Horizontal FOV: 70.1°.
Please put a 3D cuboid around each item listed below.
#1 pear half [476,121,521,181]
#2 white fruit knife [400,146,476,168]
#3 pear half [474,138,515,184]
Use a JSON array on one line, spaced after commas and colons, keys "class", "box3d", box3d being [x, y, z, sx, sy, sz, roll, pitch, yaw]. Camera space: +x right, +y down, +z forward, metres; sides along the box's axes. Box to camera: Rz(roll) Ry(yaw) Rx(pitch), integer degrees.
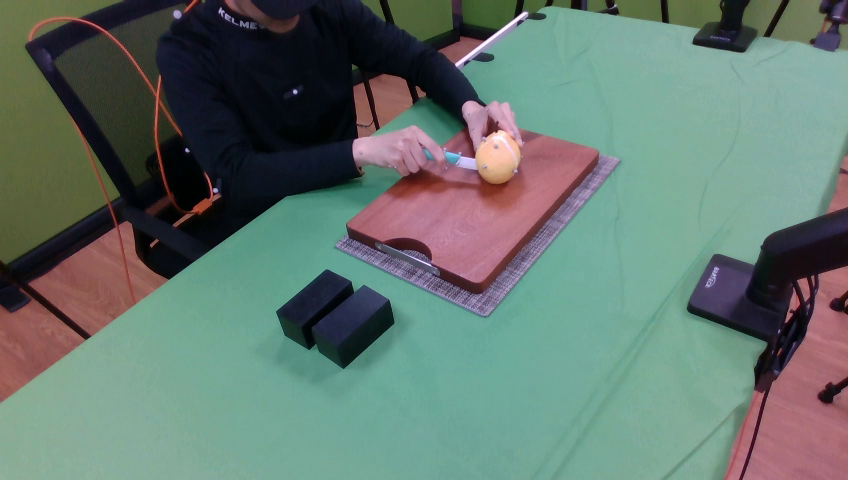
[{"class": "pear half", "box3d": [0.128, -0.158, 1.024, 0.076, 0.110, 0.056, 9, 43, 12]}, {"class": "white fruit knife", "box3d": [0.055, -0.140, 1.044, 0.206, 0.027, 0.016, 11, 42, 16]}, {"class": "pear half", "box3d": [0.115, -0.125, 1.003, 0.070, 0.088, 0.031, 10, 48, 13]}]
